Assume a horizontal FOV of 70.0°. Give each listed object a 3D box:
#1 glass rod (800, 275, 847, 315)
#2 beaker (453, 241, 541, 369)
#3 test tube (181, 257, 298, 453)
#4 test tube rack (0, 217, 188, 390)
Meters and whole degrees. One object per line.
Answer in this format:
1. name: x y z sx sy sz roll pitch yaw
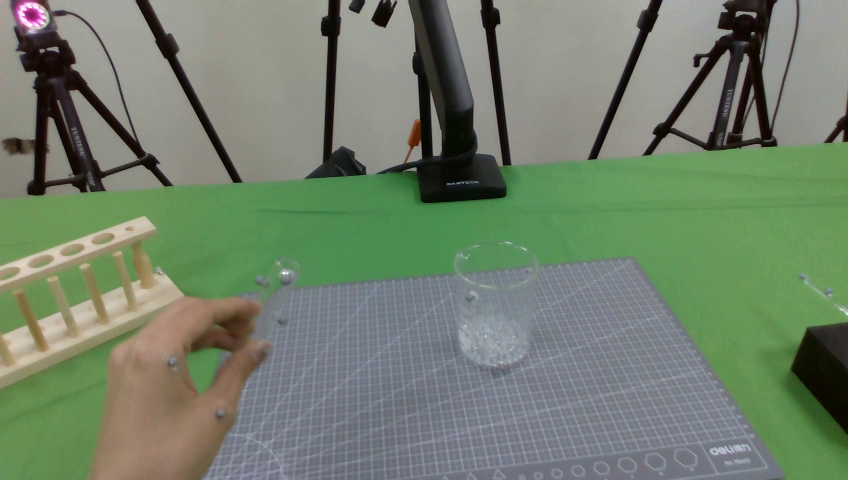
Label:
1. glass rod: 0.385 0.085 0.495 0.008 0.008 0.197 -10 34 -12
2. beaker: 0.062 0.061 0.556 0.083 0.101 0.074 27 43 38
3. test tube: -0.115 0.074 0.371 0.017 0.150 0.017 28 17 -9
4. test tube rack: -0.368 0.068 0.585 0.243 0.086 0.066 -26 40 -32
